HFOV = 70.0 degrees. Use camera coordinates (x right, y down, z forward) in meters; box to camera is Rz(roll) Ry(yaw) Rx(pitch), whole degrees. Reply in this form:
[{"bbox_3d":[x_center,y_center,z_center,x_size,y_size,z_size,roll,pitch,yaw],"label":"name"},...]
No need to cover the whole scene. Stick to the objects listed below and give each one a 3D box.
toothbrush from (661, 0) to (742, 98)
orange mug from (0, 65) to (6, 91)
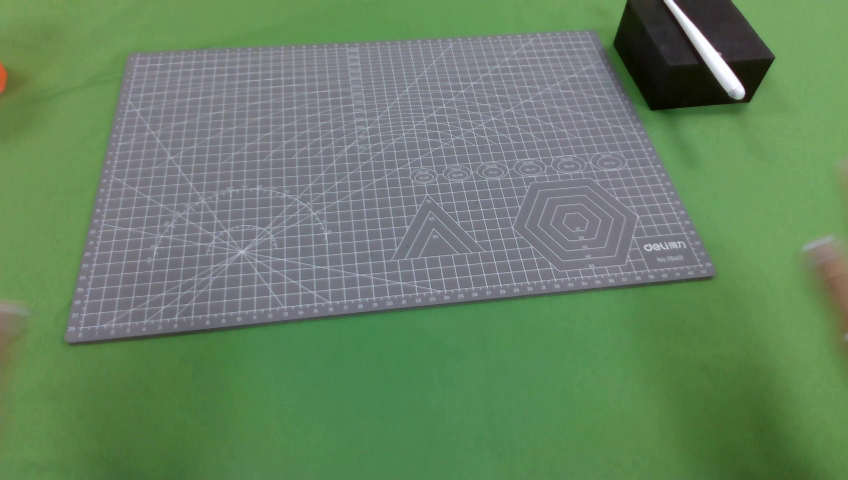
[{"bbox_3d":[0.233,-0.188,0.532,0.014,0.017,0.180,-6,55,-11],"label":"toothbrush"},{"bbox_3d":[-0.421,-0.152,0.478,0.083,0.101,0.126,39,57,23],"label":"orange mug"}]
